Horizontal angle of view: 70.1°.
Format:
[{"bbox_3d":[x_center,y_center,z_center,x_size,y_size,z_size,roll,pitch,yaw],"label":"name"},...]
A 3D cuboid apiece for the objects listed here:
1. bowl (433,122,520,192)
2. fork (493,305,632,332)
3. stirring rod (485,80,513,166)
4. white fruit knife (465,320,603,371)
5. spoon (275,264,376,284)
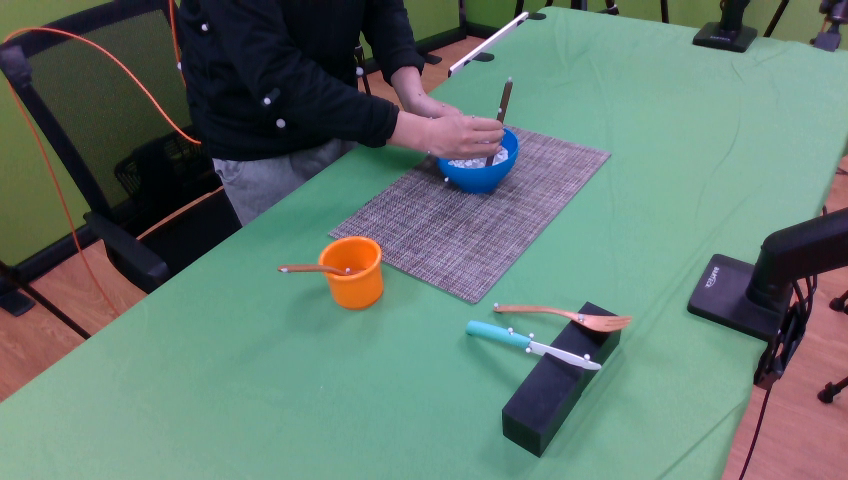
[{"bbox_3d":[0.093,-0.137,1.064,0.151,0.077,0.150,-4,40,4],"label":"bowl"},{"bbox_3d":[0.171,0.097,0.783,0.205,0.019,0.028,4,40,43],"label":"fork"},{"bbox_3d":[0.123,-0.184,1.013,0.014,0.176,0.005,-18,46,-32],"label":"stirring rod"},{"bbox_3d":[0.128,0.129,0.749,0.205,0.027,0.016,10,45,43],"label":"white fruit knife"},{"bbox_3d":[-0.133,0.044,0.839,0.041,0.195,0.021,24,94,33],"label":"spoon"}]
